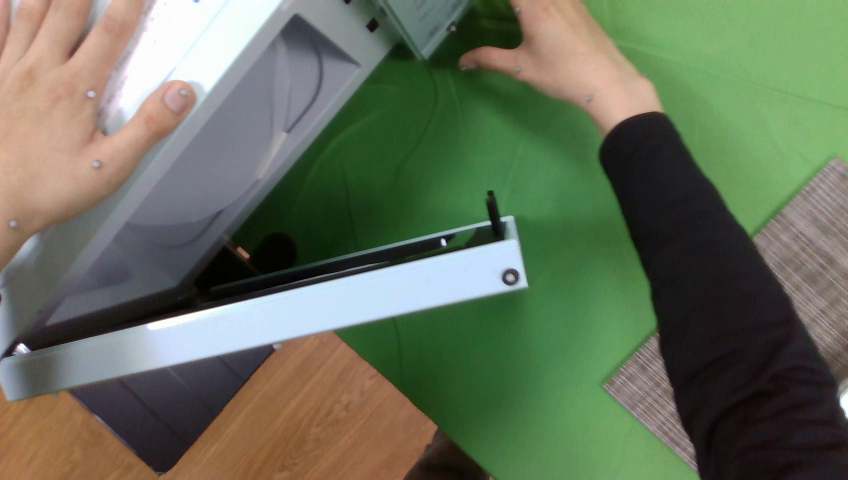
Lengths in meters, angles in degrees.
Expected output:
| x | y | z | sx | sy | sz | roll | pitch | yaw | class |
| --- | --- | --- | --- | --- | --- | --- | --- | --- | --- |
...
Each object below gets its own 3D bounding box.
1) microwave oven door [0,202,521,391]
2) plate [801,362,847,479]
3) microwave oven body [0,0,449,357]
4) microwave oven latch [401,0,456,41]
| x | y | z | sx | sy | sz | roll | pitch | yaw | class |
| --- | --- | --- | --- | --- | --- | --- | --- | --- | --- |
| -0.099 | 0.034 | 0.490 | 0.355 | 0.243 | 0.039 | -14 | 94 | 9 | microwave oven door |
| 0.455 | 0.187 | 0.557 | 0.209 | 0.038 | 0.209 | 1 | 97 | 7 | plate |
| -0.228 | -0.180 | 0.484 | 0.326 | 0.260 | 0.442 | 42 | 100 | 0 | microwave oven body |
| 0.012 | -0.220 | 0.547 | 0.079 | 0.029 | 0.030 | -44 | 90 | 10 | microwave oven latch |
